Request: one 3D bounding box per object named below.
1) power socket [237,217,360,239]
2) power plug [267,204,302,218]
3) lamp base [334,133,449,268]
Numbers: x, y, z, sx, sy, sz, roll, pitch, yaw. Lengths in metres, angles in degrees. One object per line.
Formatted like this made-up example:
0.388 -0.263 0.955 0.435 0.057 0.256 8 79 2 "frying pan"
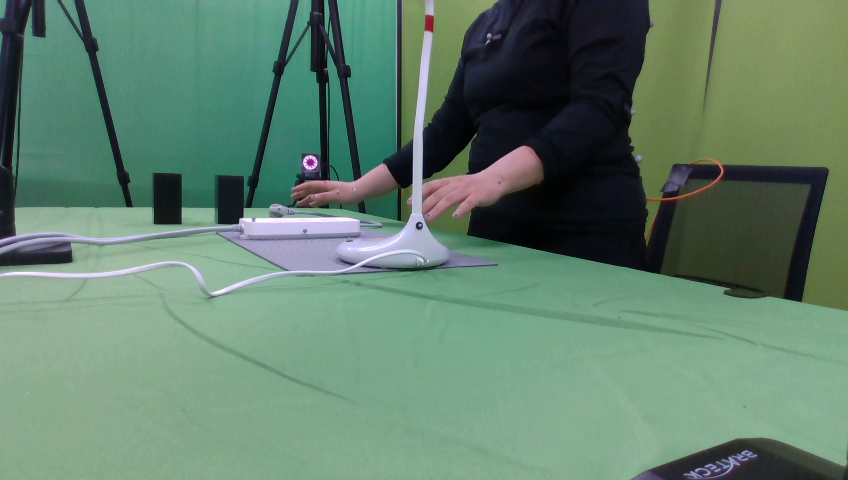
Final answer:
-0.221 -0.023 1.080 0.228 0.032 0.072 -2 8 -33 "power socket"
-0.327 -0.060 1.403 0.073 0.035 0.052 22 -14 -25 "power plug"
-0.034 -0.058 0.831 0.161 0.180 0.178 -3 12 -36 "lamp base"
